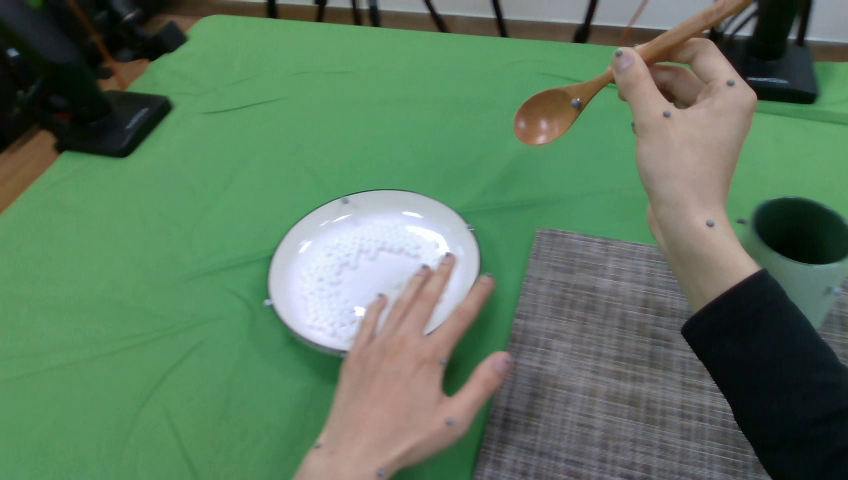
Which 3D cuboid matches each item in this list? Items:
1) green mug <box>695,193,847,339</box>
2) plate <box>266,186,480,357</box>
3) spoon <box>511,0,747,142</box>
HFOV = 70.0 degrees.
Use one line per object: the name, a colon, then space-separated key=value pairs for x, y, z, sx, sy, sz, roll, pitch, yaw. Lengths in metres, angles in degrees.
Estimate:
green mug: x=0.286 y=0.030 z=0.513 sx=0.125 sy=0.106 sz=0.091 roll=-22 pitch=50 yaw=-13
plate: x=-0.048 y=0.030 z=0.599 sx=0.209 sy=0.038 sz=0.207 roll=-3 pitch=48 yaw=3
spoon: x=0.142 y=-0.125 z=0.441 sx=0.022 sy=0.193 sz=0.041 roll=-17 pitch=83 yaw=-46
